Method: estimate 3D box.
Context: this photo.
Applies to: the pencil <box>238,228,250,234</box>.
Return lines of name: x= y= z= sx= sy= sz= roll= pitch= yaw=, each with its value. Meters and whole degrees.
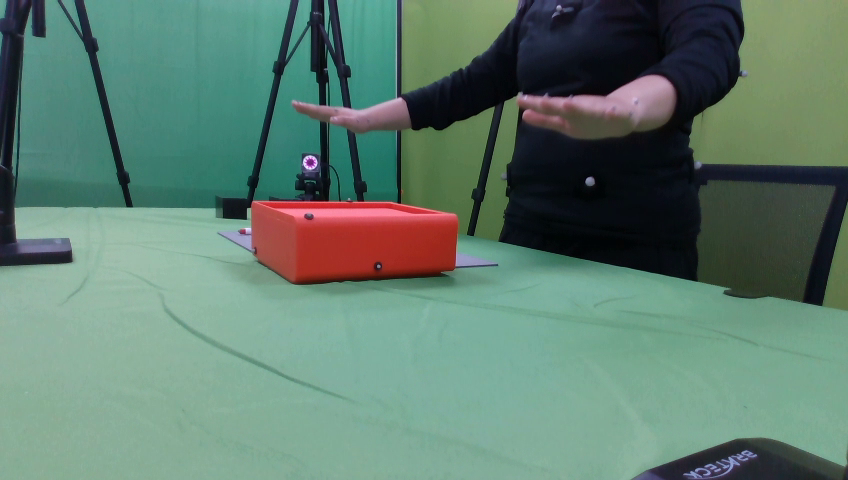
pencil: x=-0.240 y=-0.015 z=1.105 sx=0.195 sy=0.012 sz=0.012 roll=1 pitch=7 yaw=-30

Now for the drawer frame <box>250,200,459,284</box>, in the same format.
drawer frame: x=-0.096 y=-0.005 z=0.788 sx=0.215 sy=0.082 sz=0.200 roll=-3 pitch=10 yaw=-30

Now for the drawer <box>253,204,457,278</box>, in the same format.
drawer: x=-0.095 y=-0.004 z=0.791 sx=0.213 sy=0.073 sz=0.193 roll=-3 pitch=10 yaw=-30
